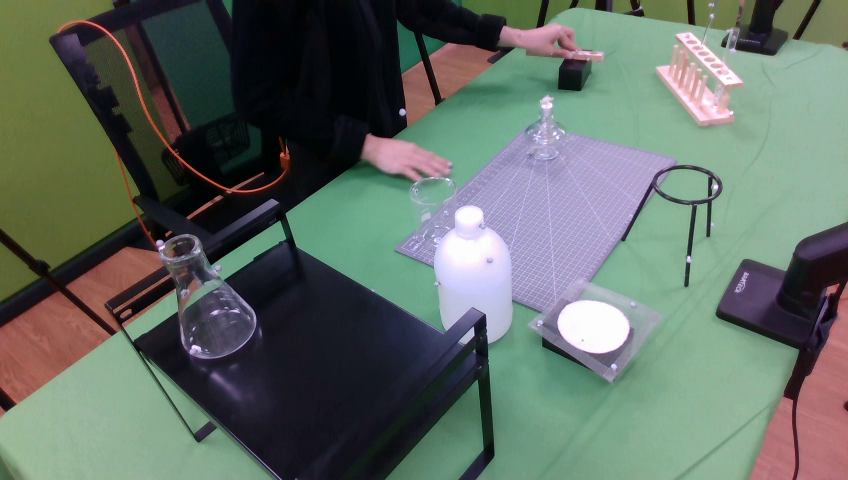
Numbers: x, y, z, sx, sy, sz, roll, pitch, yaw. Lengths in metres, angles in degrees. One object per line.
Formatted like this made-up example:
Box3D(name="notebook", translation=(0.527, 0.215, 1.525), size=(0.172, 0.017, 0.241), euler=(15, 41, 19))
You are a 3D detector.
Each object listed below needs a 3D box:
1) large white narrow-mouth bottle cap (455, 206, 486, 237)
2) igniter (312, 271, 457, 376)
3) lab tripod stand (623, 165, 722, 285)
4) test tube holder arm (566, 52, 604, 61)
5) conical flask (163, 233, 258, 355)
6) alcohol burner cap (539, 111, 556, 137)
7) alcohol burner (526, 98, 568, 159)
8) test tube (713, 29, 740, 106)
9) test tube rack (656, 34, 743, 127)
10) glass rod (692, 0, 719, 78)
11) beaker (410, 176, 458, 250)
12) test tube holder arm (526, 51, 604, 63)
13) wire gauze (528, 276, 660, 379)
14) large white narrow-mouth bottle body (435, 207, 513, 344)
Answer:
Box3D(name="large white narrow-mouth bottle cap", translation=(0.057, -0.023, 0.734), size=(0.038, 0.024, 0.037), euler=(-4, 41, 4))
Box3D(name="igniter", translation=(-0.068, 0.111, 0.859), size=(0.274, 0.025, 0.057), euler=(27, 61, 34))
Box3D(name="lab tripod stand", translation=(0.365, -0.030, 0.875), size=(0.148, 0.132, 0.147), euler=(-6, 41, 6))
Box3D(name="test tube holder arm", translation=(0.352, -0.402, 1.326), size=(0.087, 0.015, 0.010), euler=(14, 37, 30))
Box3D(name="conical flask", translation=(-0.217, 0.051, 0.601), size=(0.075, 0.122, 0.075), euler=(-4, 40, 4))
Box3D(name="alcohol burner cap", translation=(0.243, -0.232, 1.197), size=(0.034, 0.048, 0.033), euler=(-6, 38, 5))
Box3D(name="alcohol burner", translation=(0.228, -0.210, 1.118), size=(0.078, 0.119, 0.077), euler=(-5, 43, 5))
Box3D(name="test tube", translation=(0.572, -0.324, 1.147), size=(0.017, 0.151, 0.017), euler=(-3, 37, 2))
Box3D(name="test tube rack", translation=(0.553, -0.330, 1.233), size=(0.067, 0.085, 0.241), euler=(-7, 40, 2))
Box3D(name="glass rod", translation=(0.561, -0.402, 1.214), size=(0.008, 0.200, 0.008), euler=(-1, 49, 2))
Box3D(name="beaker", translation=(0.022, -0.041, 0.964), size=(0.073, 0.101, 0.084), euler=(28, 51, 35))
Box3D(name="test tube holder arm", translation=(0.310, -0.408, 1.343), size=(0.177, 0.015, 0.013), euler=(13, 36, 28))
Box3D(name="wire gauze", translation=(0.213, 0.103, 0.763), size=(0.124, 0.011, 0.122), euler=(30, 52, 35))
Box3D(name="large white narrow-mouth bottle body", translation=(0.065, 0.041, 0.791), size=(0.102, 0.195, 0.101), euler=(-4, 41, 4))
